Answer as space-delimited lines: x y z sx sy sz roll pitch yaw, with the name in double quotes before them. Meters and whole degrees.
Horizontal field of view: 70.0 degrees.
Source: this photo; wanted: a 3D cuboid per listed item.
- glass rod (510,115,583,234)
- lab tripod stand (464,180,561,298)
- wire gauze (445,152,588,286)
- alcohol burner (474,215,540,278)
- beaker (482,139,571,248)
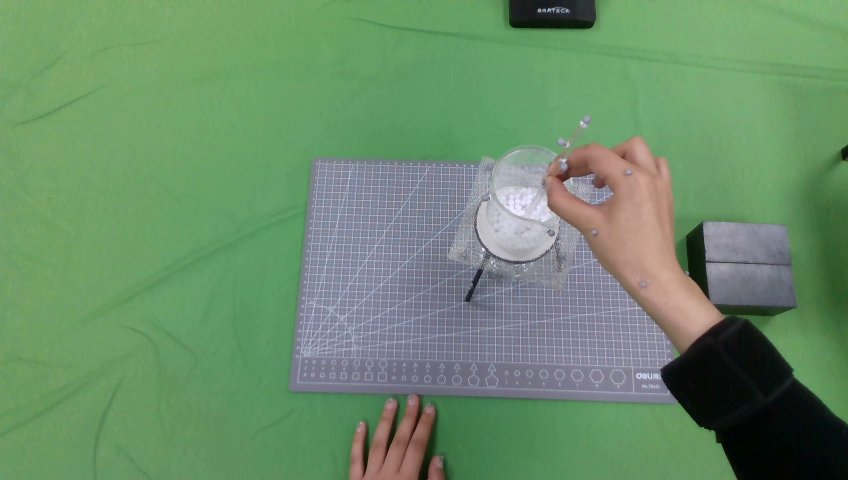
"glass rod" 0.099 -0.047 0.521 0.008 0.201 0.008 3 66 -6
"lab tripod stand" 0.093 -0.005 0.690 0.148 0.132 0.147 -1 72 2
"wire gauze" 0.098 -0.023 0.626 0.121 0.011 0.124 18 71 5
"alcohol burner" 0.097 0.003 0.697 0.078 0.120 0.077 0 73 2
"beaker" 0.095 -0.037 0.580 0.074 0.101 0.083 -25 73 -7
